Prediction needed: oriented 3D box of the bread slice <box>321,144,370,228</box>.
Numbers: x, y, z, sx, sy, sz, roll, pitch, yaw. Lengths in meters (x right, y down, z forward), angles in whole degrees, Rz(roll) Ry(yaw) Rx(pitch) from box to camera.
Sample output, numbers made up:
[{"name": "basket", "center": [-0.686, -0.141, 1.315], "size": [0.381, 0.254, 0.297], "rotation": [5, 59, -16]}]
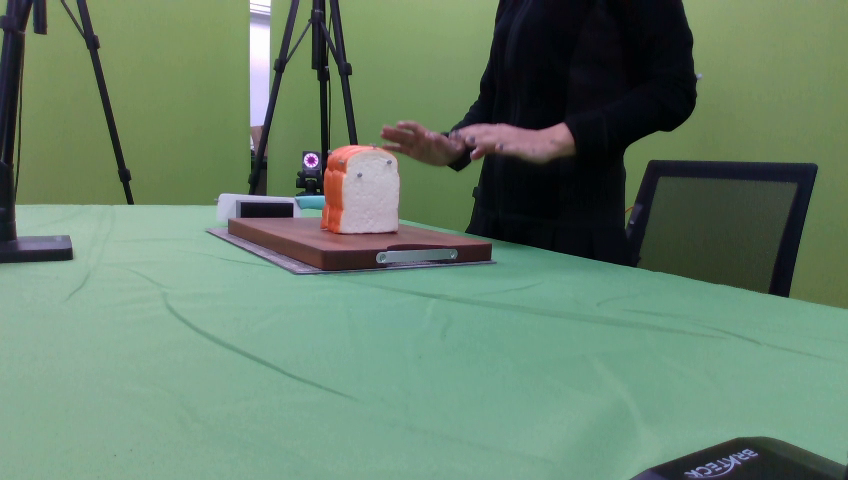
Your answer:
[{"name": "bread slice", "center": [-0.106, -0.083, 0.952], "size": [0.107, 0.134, 0.018], "rotation": [2, 6, -32]}]

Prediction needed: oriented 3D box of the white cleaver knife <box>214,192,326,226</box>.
[{"name": "white cleaver knife", "center": [-0.278, -0.062, 1.236], "size": [0.288, 0.066, 0.021], "rotation": [0, 13, -25]}]

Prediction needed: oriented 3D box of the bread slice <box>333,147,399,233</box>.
[{"name": "bread slice", "center": [-0.084, -0.074, 0.908], "size": [0.105, 0.131, 0.019], "rotation": [-4, 15, -31]}]
